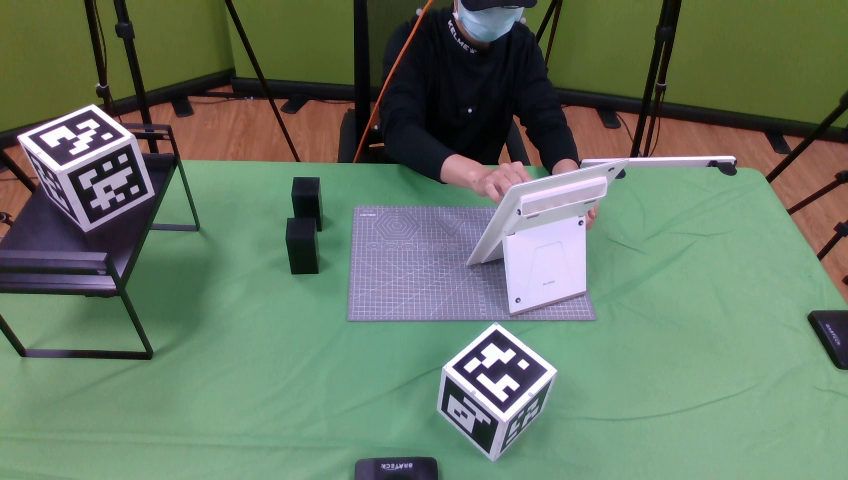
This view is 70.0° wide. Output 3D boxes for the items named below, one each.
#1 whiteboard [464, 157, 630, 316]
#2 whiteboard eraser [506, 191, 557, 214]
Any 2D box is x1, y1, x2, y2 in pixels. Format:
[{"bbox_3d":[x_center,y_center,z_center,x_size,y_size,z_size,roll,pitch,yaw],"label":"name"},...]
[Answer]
[{"bbox_3d":[0.224,0.015,1.041,0.217,0.306,0.143,-14,68,-17],"label":"whiteboard"},{"bbox_3d":[0.193,-0.068,1.093,0.041,0.101,0.019,-7,82,-47],"label":"whiteboard eraser"}]
